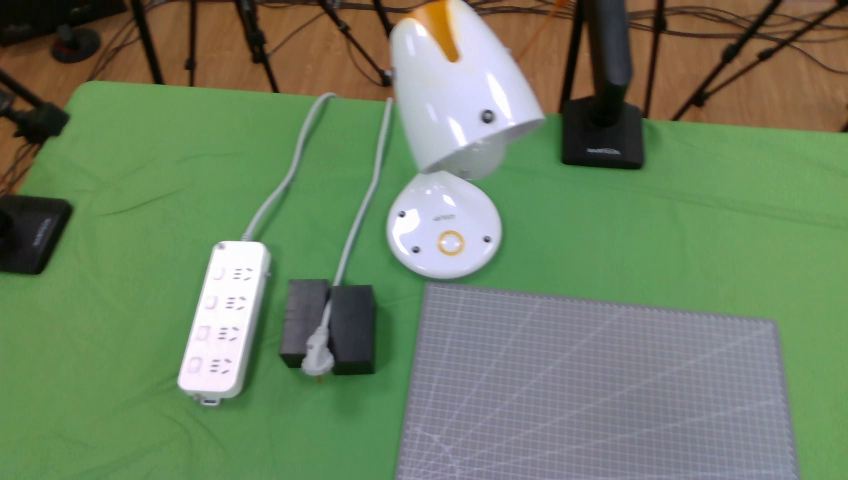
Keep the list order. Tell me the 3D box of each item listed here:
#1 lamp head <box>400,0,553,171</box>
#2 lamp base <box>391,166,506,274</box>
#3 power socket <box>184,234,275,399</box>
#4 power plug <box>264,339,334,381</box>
[{"bbox_3d":[0.032,-0.130,0.494,0.112,0.112,0.122,-22,85,-9],"label":"lamp head"},{"bbox_3d":[0.025,-0.073,0.783,0.161,0.182,0.177,-19,59,-8],"label":"lamp base"},{"bbox_3d":[-0.249,0.091,0.787,0.072,0.033,0.225,3,60,3],"label":"power socket"},{"bbox_3d":[-0.141,0.142,0.701,0.072,0.053,0.035,-11,16,2],"label":"power plug"}]
